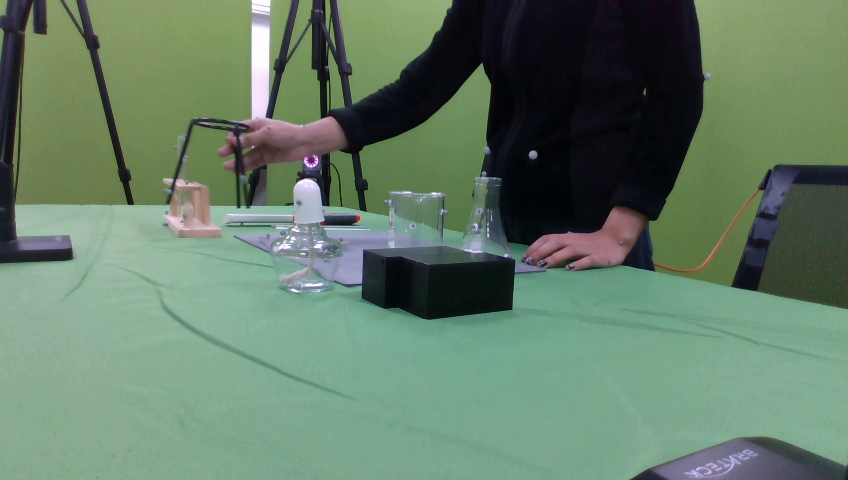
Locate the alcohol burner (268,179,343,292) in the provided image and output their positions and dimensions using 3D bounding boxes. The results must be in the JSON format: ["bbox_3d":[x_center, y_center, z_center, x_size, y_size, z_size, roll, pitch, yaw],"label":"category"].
[{"bbox_3d":[-0.124,-0.005,0.637,0.078,0.119,0.078,4,8,0],"label":"alcohol burner"}]

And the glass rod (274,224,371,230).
[{"bbox_3d":[-0.193,-0.024,1.177,0.201,0.008,0.008,1,6,-31],"label":"glass rod"}]

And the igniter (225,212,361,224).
[{"bbox_3d":[-0.262,-0.044,1.239,0.278,0.025,0.057,-2,-1,-31],"label":"igniter"}]

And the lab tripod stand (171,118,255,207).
[{"bbox_3d":[-0.309,-0.117,0.941,0.148,0.131,0.148,5,1,0],"label":"lab tripod stand"}]

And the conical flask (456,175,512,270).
[{"bbox_3d":[0.082,-0.025,0.801,0.075,0.122,0.075,2,7,0],"label":"conical flask"}]

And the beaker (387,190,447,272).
[{"bbox_3d":[-0.010,-0.013,0.771,0.074,0.100,0.084,3,6,4],"label":"beaker"}]

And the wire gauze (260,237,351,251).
[{"bbox_3d":[-0.185,0.004,0.938,0.122,0.011,0.124,-1,6,-24],"label":"wire gauze"}]

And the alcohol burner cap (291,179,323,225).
[{"bbox_3d":[-0.124,-0.040,0.632,0.034,0.048,0.034,-3,10,1],"label":"alcohol burner cap"}]

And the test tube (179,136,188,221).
[{"bbox_3d":[-0.425,-0.109,1.070,0.017,0.150,0.017,4,9,0],"label":"test tube"}]

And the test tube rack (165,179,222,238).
[{"bbox_3d":[-0.423,-0.062,1.098,0.067,0.085,0.241,-2,9,-28],"label":"test tube rack"}]
